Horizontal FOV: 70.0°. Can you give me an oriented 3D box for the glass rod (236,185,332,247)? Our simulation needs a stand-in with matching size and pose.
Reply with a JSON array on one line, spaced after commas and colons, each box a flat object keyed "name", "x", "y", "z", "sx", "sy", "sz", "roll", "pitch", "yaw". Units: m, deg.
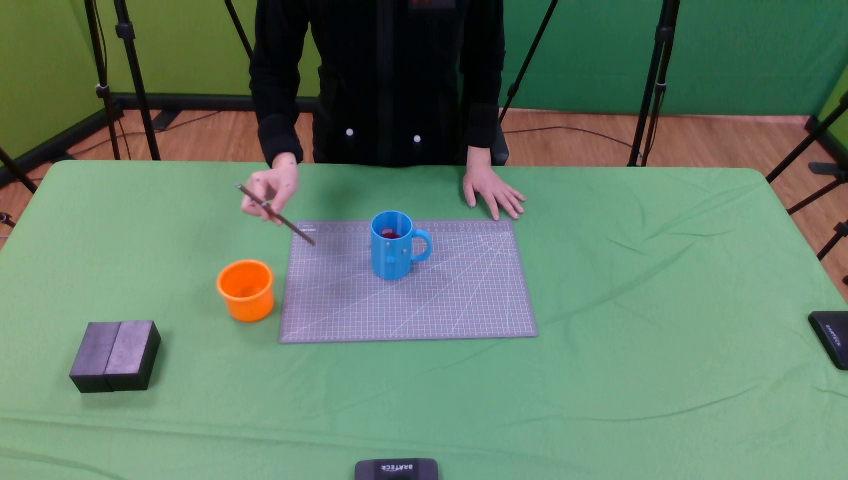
[{"name": "glass rod", "x": -0.227, "y": -0.036, "z": 1.003, "sx": 0.008, "sy": 0.201, "sz": 0.008, "roll": -27, "pitch": 45, "yaw": 30}]

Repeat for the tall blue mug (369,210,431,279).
[{"name": "tall blue mug", "x": -0.049, "y": 0.005, "z": 1.125, "sx": 0.107, "sy": 0.108, "sz": 0.077, "roll": -19, "pitch": 50, "yaw": -21}]
